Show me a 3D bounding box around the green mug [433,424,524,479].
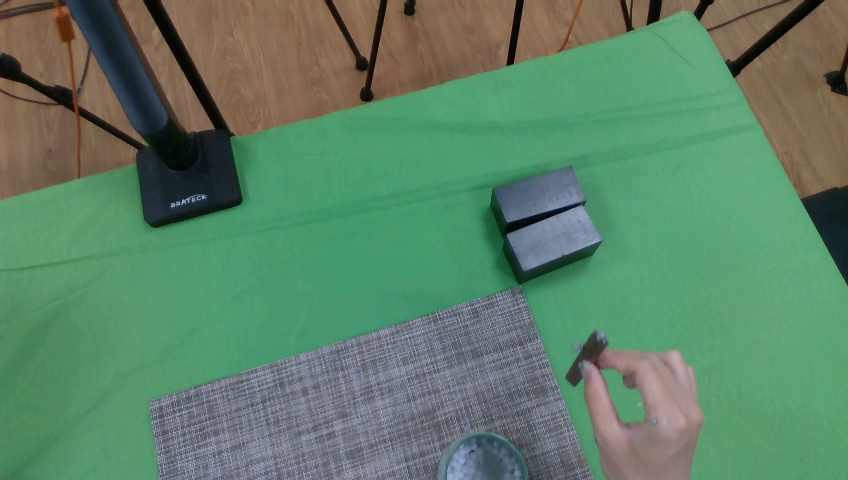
[{"bbox_3d":[0.065,0.243,0.603,0.092,0.105,0.124,-33,72,-11],"label":"green mug"}]

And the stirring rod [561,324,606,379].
[{"bbox_3d":[0.129,0.096,0.504,0.014,0.177,0.006,42,77,19],"label":"stirring rod"}]
